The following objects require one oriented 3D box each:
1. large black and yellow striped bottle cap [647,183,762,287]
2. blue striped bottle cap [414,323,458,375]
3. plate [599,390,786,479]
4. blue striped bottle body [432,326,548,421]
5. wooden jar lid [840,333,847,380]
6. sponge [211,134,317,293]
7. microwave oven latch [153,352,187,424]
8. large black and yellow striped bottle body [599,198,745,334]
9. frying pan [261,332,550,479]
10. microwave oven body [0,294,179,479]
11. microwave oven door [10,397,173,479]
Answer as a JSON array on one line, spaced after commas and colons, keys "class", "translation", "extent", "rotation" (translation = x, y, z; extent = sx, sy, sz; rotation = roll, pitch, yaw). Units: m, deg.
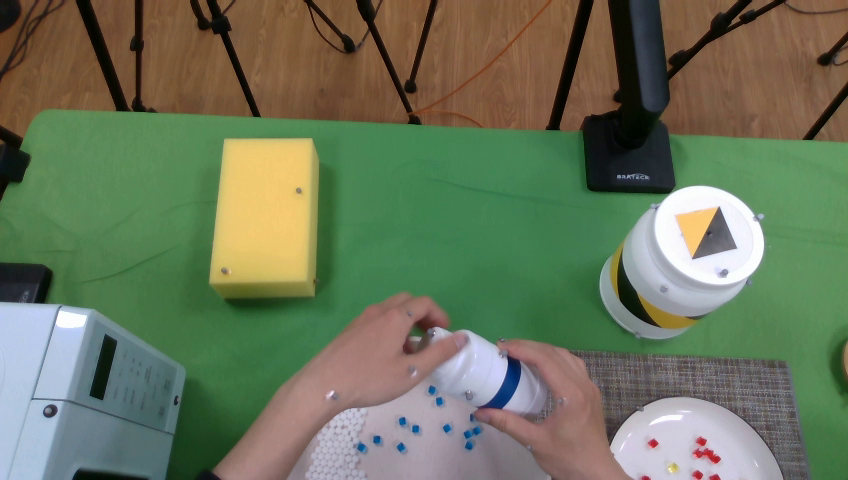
[{"class": "large black and yellow striped bottle cap", "translation": [0.294, -0.007, 0.635], "extent": [0.115, 0.019, 0.114], "rotation": [0, 66, -1]}, {"class": "blue striped bottle cap", "translation": [0.010, 0.098, 0.548], "extent": [0.021, 0.044, 0.044], "rotation": [29, 66, -22]}, {"class": "plate", "translation": [0.299, 0.276, 0.685], "extent": [0.209, 0.038, 0.207], "rotation": [0, 67, -1]}, {"class": "blue striped bottle body", "translation": [0.054, 0.123, 0.571], "extent": [0.122, 0.063, 0.062], "rotation": [29, 65, -26]}, {"class": "wooden jar lid", "translation": [0.572, 0.156, 0.755], "extent": [0.108, 0.021, 0.107], "rotation": [0, 69, 0]}, {"class": "sponge", "translation": [-0.205, -0.036, 0.796], "extent": [0.118, 0.061, 0.205], "rotation": [-2, 68, -2]}, {"class": "microwave oven latch", "translation": [-0.297, 0.170, 0.700], "extent": [0.030, 0.030, 0.078], "rotation": [6, 68, 1]}, {"class": "large black and yellow striped bottle body", "translation": [0.293, 0.027, 0.715], "extent": [0.131, 0.185, 0.130], "rotation": [0, 67, 0]}, {"class": "frying pan", "translation": [-0.023, 0.339, 0.617], "extent": [0.307, 0.103, 0.483], "rotation": [1, 59, 2]}, {"class": "microwave oven body", "translation": [-0.453, 0.287, 0.543], "extent": [0.326, 0.262, 0.438], "rotation": [3, 68, 0]}, {"class": "microwave oven door", "translation": [-0.310, 0.331, 0.522], "extent": [0.039, 0.245, 0.353], "rotation": [3, 67, 0]}]
